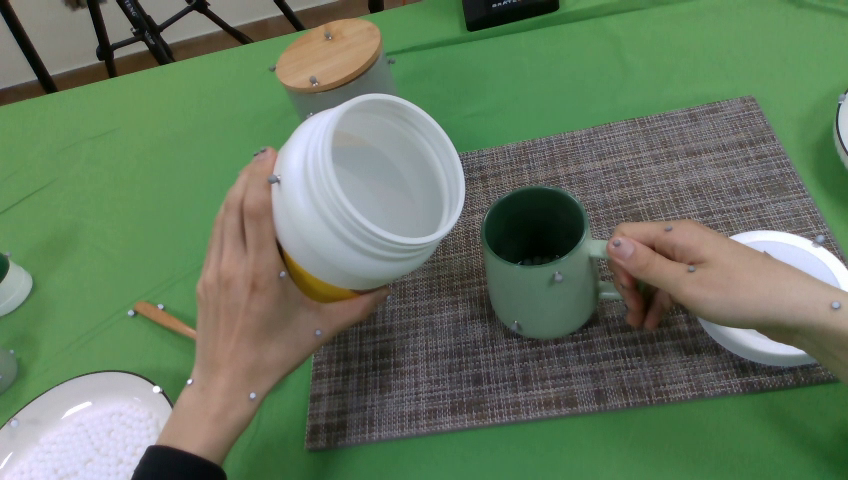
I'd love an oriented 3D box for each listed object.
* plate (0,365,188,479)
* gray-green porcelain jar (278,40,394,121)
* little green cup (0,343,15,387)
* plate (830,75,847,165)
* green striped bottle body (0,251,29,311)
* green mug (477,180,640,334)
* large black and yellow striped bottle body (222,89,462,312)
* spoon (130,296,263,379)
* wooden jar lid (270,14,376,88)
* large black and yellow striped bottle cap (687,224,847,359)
[{"bbox_3d":[-0.287,0.204,0.497,0.209,0.038,0.207,-7,53,10],"label":"plate"},{"bbox_3d":[-0.081,-0.139,0.634,0.106,0.128,0.105,-8,49,10],"label":"gray-green porcelain jar"},{"bbox_3d":[-0.444,0.125,0.600,0.061,0.039,0.061,-8,52,11],"label":"little green cup"},{"bbox_3d":[0.455,-0.089,0.504,0.207,0.039,0.205,-8,53,11],"label":"plate"},{"bbox_3d":[-0.486,0.022,0.635,0.063,0.120,0.062,-8,53,11],"label":"green striped bottle body"},{"bbox_3d":[0.105,0.017,0.477,0.125,0.106,0.092,5,56,20],"label":"green mug"},{"bbox_3d":[-0.067,-0.025,0.469,0.184,0.132,0.130,-28,35,51],"label":"large black and yellow striped bottle body"},{"bbox_3d":[-0.222,0.084,0.577,0.192,0.022,0.041,19,76,27],"label":"spoon"},{"bbox_3d":[-0.096,-0.180,0.587,0.108,0.021,0.107,-10,51,13],"label":"wooden jar lid"},{"bbox_3d":[0.267,0.037,0.472,0.115,0.019,0.114,-9,52,12],"label":"large black and yellow striped bottle cap"}]
